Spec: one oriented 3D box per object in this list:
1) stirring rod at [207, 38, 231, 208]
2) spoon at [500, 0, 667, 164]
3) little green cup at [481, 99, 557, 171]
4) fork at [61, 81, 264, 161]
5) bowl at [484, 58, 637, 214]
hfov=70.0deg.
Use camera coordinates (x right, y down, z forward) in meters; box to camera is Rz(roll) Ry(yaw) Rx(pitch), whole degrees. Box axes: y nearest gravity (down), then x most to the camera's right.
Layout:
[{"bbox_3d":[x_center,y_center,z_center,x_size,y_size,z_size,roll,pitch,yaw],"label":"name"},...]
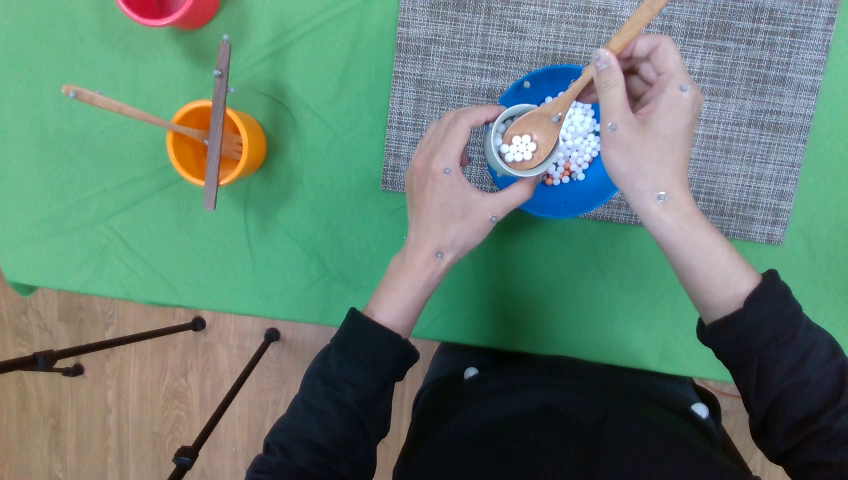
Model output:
[{"bbox_3d":[-0.215,-0.121,0.637,0.014,0.006,0.176,9,102,6],"label":"stirring rod"},{"bbox_3d":[0.128,-0.131,0.468,0.041,0.021,0.194,45,126,1],"label":"spoon"},{"bbox_3d":[0.079,-0.088,0.525,0.062,0.038,0.061,0,91,-12],"label":"little green cup"},{"bbox_3d":[-0.269,-0.125,0.645,0.209,0.018,0.028,16,109,-41],"label":"fork"},{"bbox_3d":[0.138,-0.107,0.633,0.151,0.076,0.152,1,101,7],"label":"bowl"}]
